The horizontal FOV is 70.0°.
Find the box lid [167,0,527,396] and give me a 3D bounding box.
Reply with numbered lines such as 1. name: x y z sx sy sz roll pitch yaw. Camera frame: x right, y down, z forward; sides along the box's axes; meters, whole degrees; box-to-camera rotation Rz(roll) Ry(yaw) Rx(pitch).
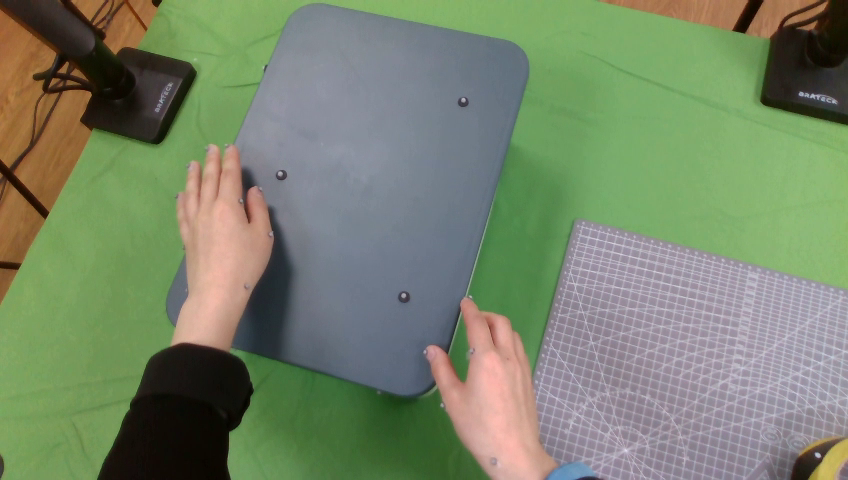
1. box lid: -0.065 -0.062 0.582 0.263 0.015 0.370 15 74 8

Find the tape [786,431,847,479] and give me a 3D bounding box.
1. tape: 0.424 0.244 0.586 0.117 0.053 0.116 -1 71 4

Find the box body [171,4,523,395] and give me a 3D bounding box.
1. box body: -0.061 -0.036 0.652 0.253 0.161 0.362 14 73 8
